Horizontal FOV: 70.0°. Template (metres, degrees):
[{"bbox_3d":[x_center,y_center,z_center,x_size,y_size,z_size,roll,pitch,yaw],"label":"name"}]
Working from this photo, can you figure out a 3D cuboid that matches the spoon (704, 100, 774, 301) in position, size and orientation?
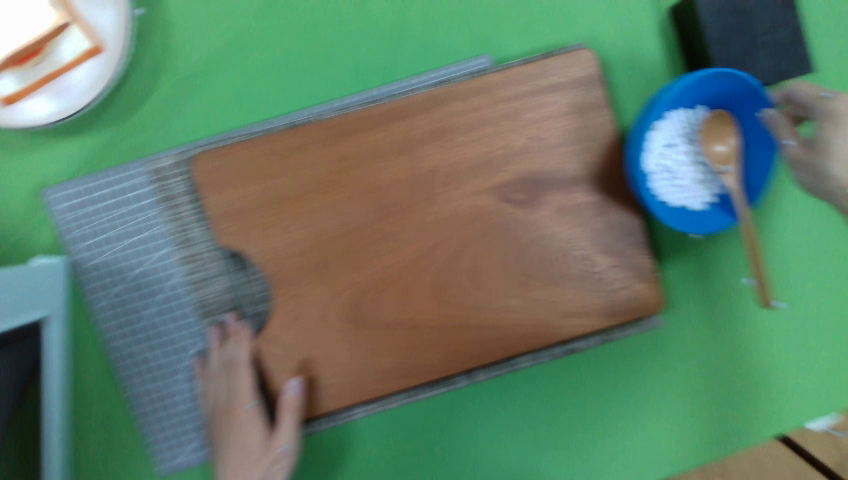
[{"bbox_3d":[0.303,-0.037,0.572,0.042,0.021,0.193,-13,86,-7],"label":"spoon"}]

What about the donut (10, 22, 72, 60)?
[{"bbox_3d":[-0.351,-0.202,0.510,0.099,0.048,0.099,-1,97,-11],"label":"donut"}]

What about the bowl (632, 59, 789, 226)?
[{"bbox_3d":[0.256,-0.096,0.578,0.152,0.076,0.152,-5,109,-15],"label":"bowl"}]

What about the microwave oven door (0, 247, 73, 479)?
[{"bbox_3d":[-0.342,0.192,0.455,0.039,0.243,0.356,4,94,-5],"label":"microwave oven door"}]

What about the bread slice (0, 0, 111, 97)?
[{"bbox_3d":[-0.363,-0.209,0.538,0.105,0.019,0.132,-32,98,-4],"label":"bread slice"}]

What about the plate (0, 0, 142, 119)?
[{"bbox_3d":[-0.356,-0.211,0.538,0.208,0.039,0.208,0,95,-5],"label":"plate"}]

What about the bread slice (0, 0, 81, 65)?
[{"bbox_3d":[-0.353,-0.206,0.480,0.107,0.018,0.134,-35,91,-1],"label":"bread slice"}]
